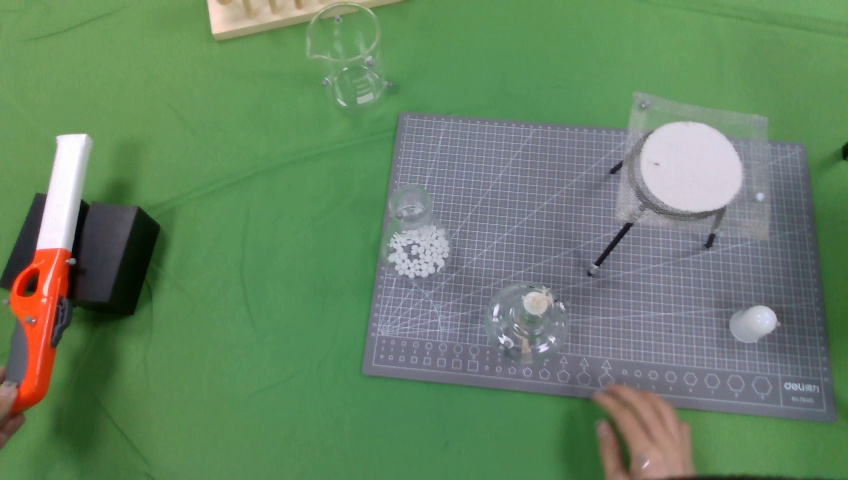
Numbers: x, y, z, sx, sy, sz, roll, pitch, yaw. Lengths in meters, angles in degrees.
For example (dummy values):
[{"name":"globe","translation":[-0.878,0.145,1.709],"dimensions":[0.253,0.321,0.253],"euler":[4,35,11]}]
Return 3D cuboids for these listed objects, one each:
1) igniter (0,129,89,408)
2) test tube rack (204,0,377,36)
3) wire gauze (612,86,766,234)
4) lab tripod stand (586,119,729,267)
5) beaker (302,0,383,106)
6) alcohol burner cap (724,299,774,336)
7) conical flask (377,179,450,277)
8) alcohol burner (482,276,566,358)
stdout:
[{"name":"igniter","translation":[-0.357,0.017,0.574],"dimensions":[0.057,0.025,0.274],"euler":[-3,68,0]},{"name":"test tube rack","translation":[-0.147,-0.318,0.709],"dimensions":[0.242,0.086,0.066],"euler":[-14,71,-4]},{"name":"wire gauze","translation":[0.226,-0.069,0.512],"dimensions":[0.121,0.011,0.124],"euler":[11,71,4]},{"name":"lab tripod stand","translation":[0.220,-0.042,0.574],"dimensions":[0.148,0.132,0.147],"euler":[0,69,0]},{"name":"beaker","translation":[-0.086,-0.199,0.658],"dimensions":[0.084,0.101,0.073],"euler":[-35,72,-10]},{"name":"alcohol burner cap","translation":[0.314,0.072,0.580],"dimensions":[0.034,0.048,0.033],"euler":[0,71,2]},{"name":"conical flask","translation":[-0.013,-0.016,0.576],"dimensions":[0.075,0.122,0.075],"euler":[0,69,2]},{"name":"alcohol burner","translation":[0.093,0.065,0.549],"dimensions":[0.078,0.120,0.077],"euler":[0,69,0]}]
